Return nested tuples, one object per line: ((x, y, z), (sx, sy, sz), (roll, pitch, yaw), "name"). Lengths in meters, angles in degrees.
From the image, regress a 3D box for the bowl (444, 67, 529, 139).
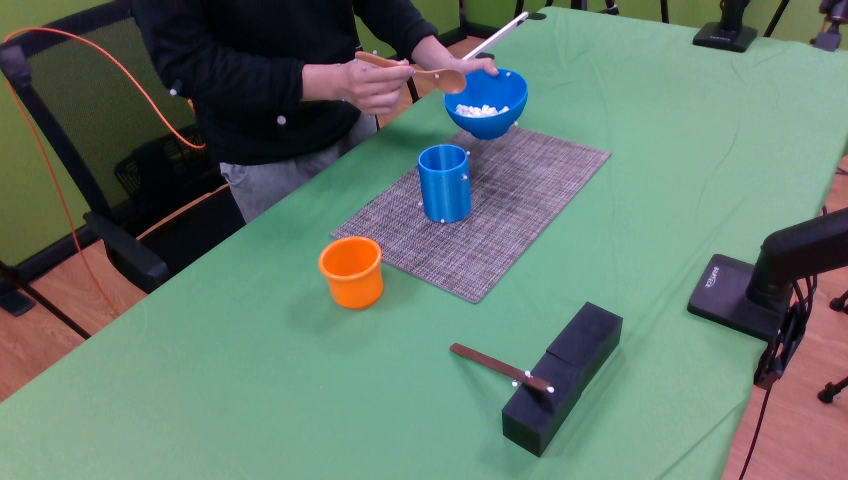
((0.115, -0.234, 1.084), (0.151, 0.077, 0.150), (-7, 46, 8), "bowl")

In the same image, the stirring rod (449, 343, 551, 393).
((0.088, 0.154, 0.741), (0.014, 0.006, 0.174), (-40, 28, -25), "stirring rod")

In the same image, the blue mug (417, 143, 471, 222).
((0.031, -0.104, 1.014), (0.082, 0.106, 0.115), (-14, 41, -7), "blue mug")

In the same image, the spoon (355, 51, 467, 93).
((-0.017, -0.262, 0.930), (0.195, 0.041, 0.021), (4, 45, -34), "spoon")
